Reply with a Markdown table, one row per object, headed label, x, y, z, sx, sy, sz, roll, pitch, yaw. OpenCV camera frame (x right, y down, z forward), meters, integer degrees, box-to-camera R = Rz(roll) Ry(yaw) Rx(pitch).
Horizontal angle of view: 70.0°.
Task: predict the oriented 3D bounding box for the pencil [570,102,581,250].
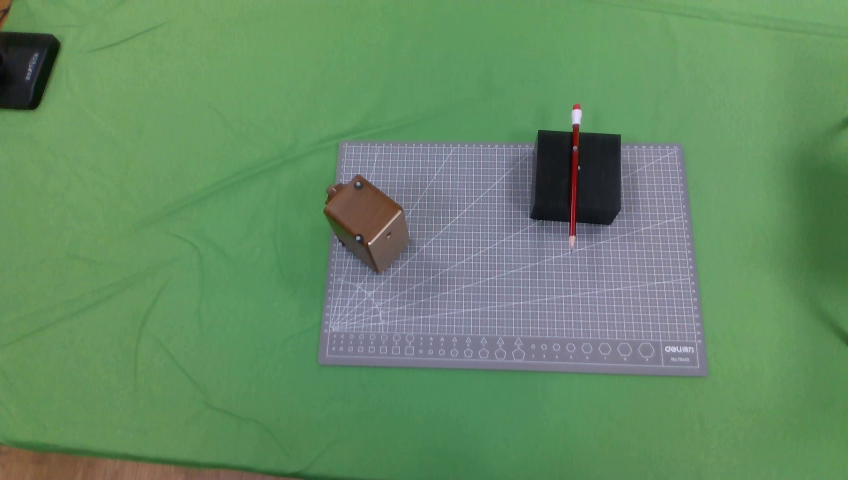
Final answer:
| label | x | y | z | sx | sy | sz | roll | pitch | yaw |
| --- | --- | --- | --- | --- | --- | --- | --- | --- | --- |
| pencil | 0.179 | -0.079 | 0.722 | 0.012 | 0.012 | 0.193 | 5 | 71 | 4 |

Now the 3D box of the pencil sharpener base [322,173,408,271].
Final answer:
| label | x | y | z | sx | sy | sz | roll | pitch | yaw |
| --- | --- | --- | --- | --- | --- | --- | --- | --- | --- |
| pencil sharpener base | -0.068 | -0.020 | 0.711 | 0.076 | 0.108 | 0.061 | 39 | 77 | 15 |

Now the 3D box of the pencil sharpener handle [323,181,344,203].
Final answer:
| label | x | y | z | sx | sy | sz | roll | pitch | yaw |
| --- | --- | --- | --- | --- | --- | --- | --- | --- | --- |
| pencil sharpener handle | -0.108 | -0.054 | 0.712 | 0.030 | 0.068 | 0.036 | 39 | 69 | 15 |
